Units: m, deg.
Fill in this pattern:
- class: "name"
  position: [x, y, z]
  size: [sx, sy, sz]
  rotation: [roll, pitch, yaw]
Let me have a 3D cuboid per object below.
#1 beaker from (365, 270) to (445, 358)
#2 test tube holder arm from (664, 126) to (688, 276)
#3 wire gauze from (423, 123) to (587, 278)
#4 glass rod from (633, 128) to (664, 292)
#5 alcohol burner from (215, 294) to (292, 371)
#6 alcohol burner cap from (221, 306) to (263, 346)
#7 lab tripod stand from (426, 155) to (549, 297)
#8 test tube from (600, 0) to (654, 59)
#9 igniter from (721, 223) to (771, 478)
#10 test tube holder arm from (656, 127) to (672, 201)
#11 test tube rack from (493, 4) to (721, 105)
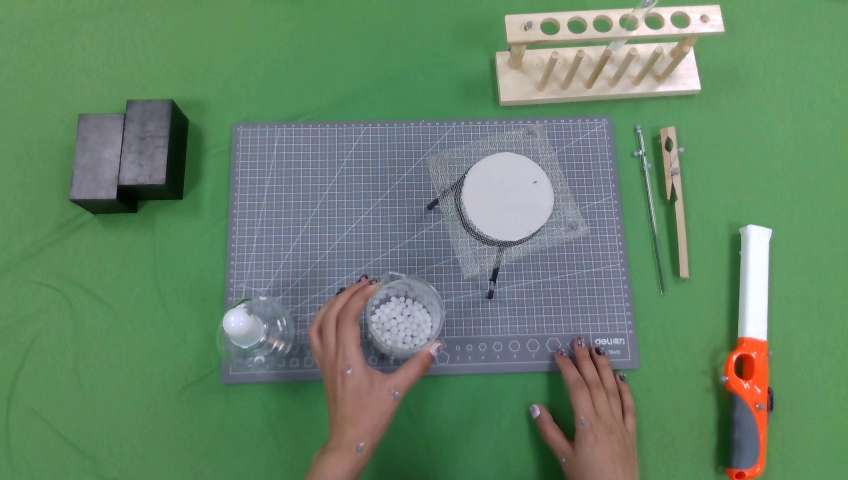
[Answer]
- class: "beaker"
  position: [-0.025, 0.079, 0.614]
  size: [0.074, 0.100, 0.083]
  rotation: [-23, 78, -12]
- class: "test tube holder arm"
  position: [0.290, -0.047, 0.698]
  size: [0.013, 0.015, 0.177]
  rotation: [-10, 75, 30]
- class: "wire gauze"
  position: [0.073, -0.041, 0.562]
  size: [0.121, 0.011, 0.124]
  rotation: [-18, 77, -4]
- class: "glass rod"
  position: [0.259, -0.038, 0.702]
  size: [0.008, 0.008, 0.198]
  rotation: [-3, 76, -3]
- class: "alcohol burner"
  position: [-0.173, 0.089, 0.602]
  size: [0.078, 0.119, 0.077]
  rotation: [0, 74, -1]
- class: "alcohol burner cap"
  position: [-0.173, 0.078, 0.568]
  size: [0.034, 0.048, 0.033]
  rotation: [1, 66, -2]
- class: "lab tripod stand"
  position: [0.067, -0.022, 0.626]
  size: [0.148, 0.132, 0.147]
  rotation: [0, 77, 1]
- class: "test tube"
  position: [0.227, -0.242, 0.661]
  size: [0.017, 0.150, 0.017]
  rotation: [2, 75, -7]
- class: "igniter"
  position: [0.351, 0.116, 0.658]
  size: [0.057, 0.025, 0.275]
  rotation: [12, 76, -9]
- class: "test tube holder arm"
  position: [0.284, -0.089, 0.711]
  size: [0.010, 0.015, 0.087]
  rotation: [-10, 75, 30]
- class: "test tube rack"
  position: [0.208, -0.213, 0.704]
  size: [0.242, 0.085, 0.066]
  rotation: [-4, 76, -2]
